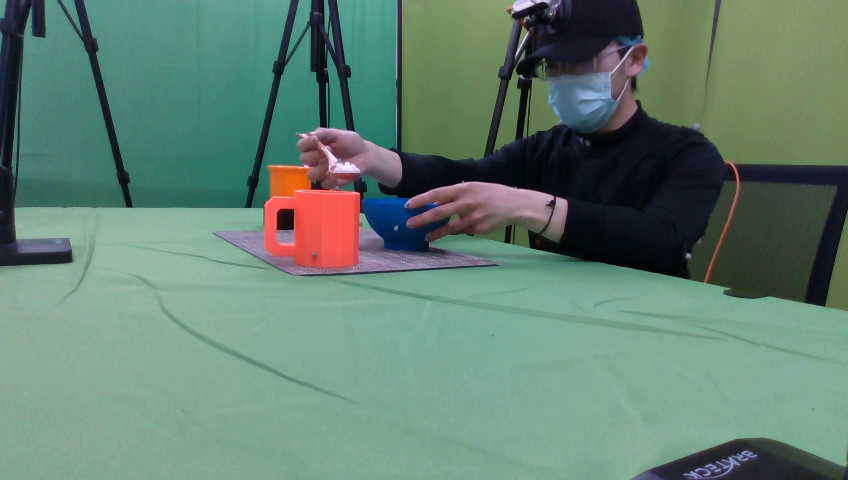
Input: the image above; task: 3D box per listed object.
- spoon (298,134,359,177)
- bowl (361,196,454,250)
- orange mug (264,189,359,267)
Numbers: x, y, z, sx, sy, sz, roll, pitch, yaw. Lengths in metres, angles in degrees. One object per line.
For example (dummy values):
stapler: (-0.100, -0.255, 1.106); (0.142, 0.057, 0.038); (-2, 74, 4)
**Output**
spoon: (-0.148, -0.130, 0.903); (0.042, 0.021, 0.192); (11, 21, -36)
bowl: (-0.028, -0.028, 0.983); (0.151, 0.077, 0.151); (3, 7, 0)
orange mug: (-0.147, -0.019, 0.794); (0.127, 0.100, 0.083); (5, 6, -19)
